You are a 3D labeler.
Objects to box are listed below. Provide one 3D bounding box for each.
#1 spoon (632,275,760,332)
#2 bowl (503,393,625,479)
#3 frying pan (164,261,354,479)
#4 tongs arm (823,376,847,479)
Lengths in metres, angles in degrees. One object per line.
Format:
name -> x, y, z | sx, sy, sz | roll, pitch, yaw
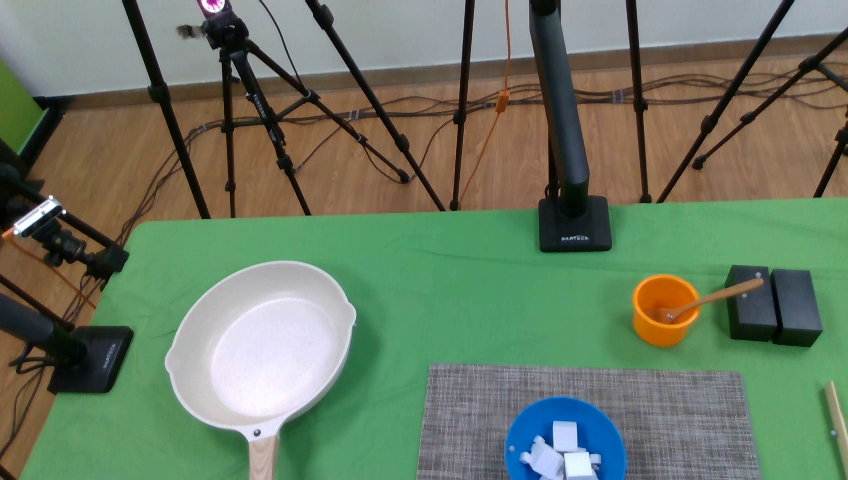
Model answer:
spoon -> 0.380, 0.088, 0.860 | 0.022, 0.194, 0.041 | 23, 53, -26
bowl -> 0.181, 0.286, 0.791 | 0.151, 0.077, 0.150 | -5, 53, 8
frying pan -> -0.238, 0.239, 0.898 | 0.307, 0.104, 0.482 | -14, 44, 2
tongs arm -> 0.535, 0.345, 0.716 | 0.028, 0.028, 0.384 | -1, 54, 9
